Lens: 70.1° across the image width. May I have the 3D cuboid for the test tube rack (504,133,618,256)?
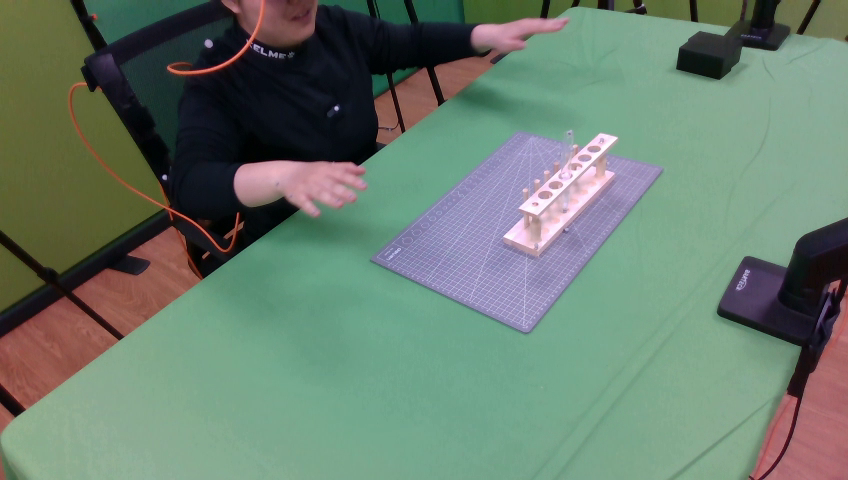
[{"bbox_3d":[0.225,-0.083,0.985,0.066,0.085,0.243,25,50,34],"label":"test tube rack"}]

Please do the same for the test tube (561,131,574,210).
[{"bbox_3d":[0.220,-0.103,0.933,0.017,0.151,0.017,-5,45,6],"label":"test tube"}]
